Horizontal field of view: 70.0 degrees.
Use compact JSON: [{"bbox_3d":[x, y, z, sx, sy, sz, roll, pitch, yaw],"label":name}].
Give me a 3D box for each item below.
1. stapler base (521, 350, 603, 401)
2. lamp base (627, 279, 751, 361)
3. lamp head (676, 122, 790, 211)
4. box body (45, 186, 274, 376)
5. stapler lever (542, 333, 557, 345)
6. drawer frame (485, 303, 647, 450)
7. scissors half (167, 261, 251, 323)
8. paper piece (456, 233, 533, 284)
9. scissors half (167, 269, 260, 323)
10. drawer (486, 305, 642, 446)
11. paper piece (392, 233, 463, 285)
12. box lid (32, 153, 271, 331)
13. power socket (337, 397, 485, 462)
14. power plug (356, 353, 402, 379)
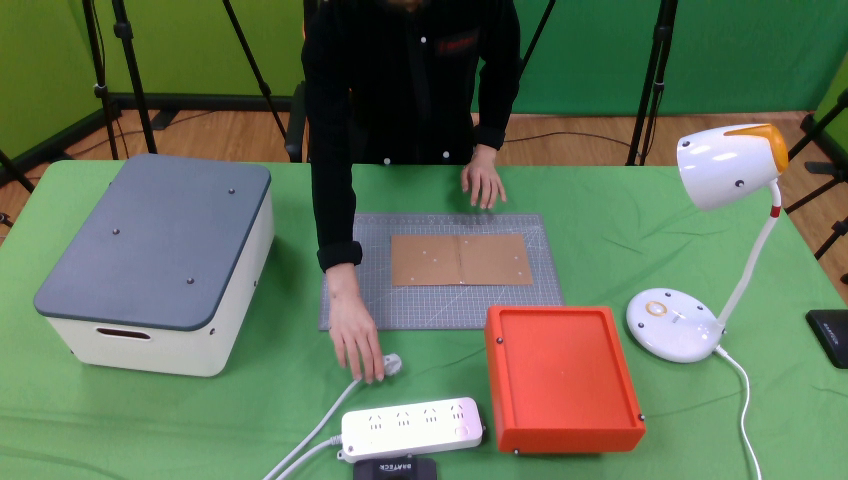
[{"bbox_3d":[0.217,0.203,0.942,0.130,0.024,0.041,26,33,16],"label":"stapler base"},{"bbox_3d":[0.460,0.100,1.027,0.178,0.181,0.160,27,51,17],"label":"lamp base"},{"bbox_3d":[0.423,-0.104,0.819,0.122,0.113,0.112,-13,33,40],"label":"lamp head"},{"bbox_3d":[-0.421,0.037,1.031,0.254,0.161,0.362,6,46,1],"label":"box body"},{"bbox_3d":[0.225,0.181,0.928,0.118,0.040,0.027,27,34,15],"label":"stapler lever"},{"bbox_3d":[0.204,0.202,0.917,0.202,0.083,0.212,1,47,-4],"label":"drawer frame"},{"bbox_3d":[-0.383,0.091,1.080,0.040,0.013,0.175,25,51,30],"label":"scissors half"},{"bbox_3d":[0.136,0.035,1.182,0.136,0.009,0.137,2,45,-7],"label":"paper piece"},{"bbox_3d":[-0.369,0.101,1.069,0.175,0.013,0.040,-28,52,-22],"label":"scissors half"},{"bbox_3d":[0.202,0.200,0.919,0.195,0.073,0.210,2,47,-4],"label":"drawer"},{"bbox_3d":[0.005,0.035,1.169,0.135,0.004,0.135,2,46,-3],"label":"paper piece"},{"bbox_3d":[-0.417,-0.015,0.980,0.263,0.015,0.369,6,46,1],"label":"box lid"},{"bbox_3d":[-0.018,0.285,0.915,0.227,0.033,0.071,-4,46,-8],"label":"power socket"},{"bbox_3d":[-0.071,0.207,0.983,0.072,0.053,0.035,-20,52,5],"label":"power plug"}]
